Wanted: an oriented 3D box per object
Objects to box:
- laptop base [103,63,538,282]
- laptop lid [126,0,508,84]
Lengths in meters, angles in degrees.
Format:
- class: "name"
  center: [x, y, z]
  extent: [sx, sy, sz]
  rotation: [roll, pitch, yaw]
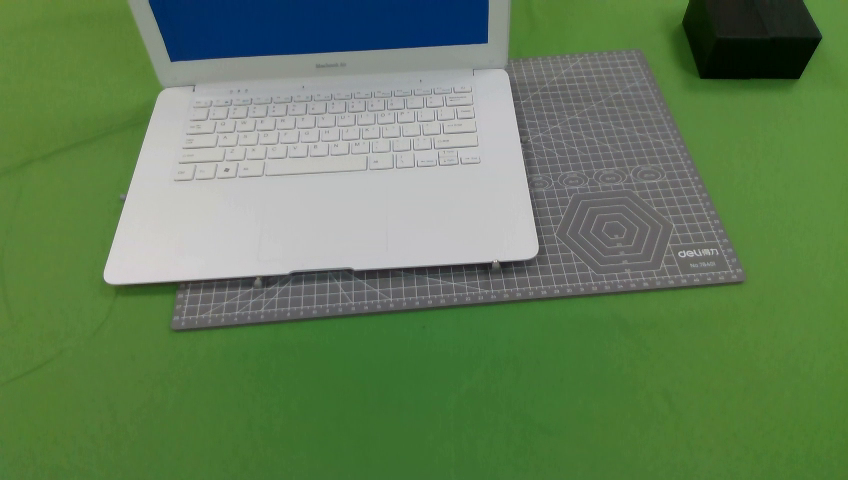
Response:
- class: "laptop base"
  center: [-0.088, -0.069, 0.552]
  extent: [0.354, 0.023, 0.233]
  rotation: [-4, 57, 0]
- class: "laptop lid"
  center: [-0.099, -0.249, 0.537]
  extent: [0.357, 0.244, 0.013]
  rotation: [-5, 45, 1]
